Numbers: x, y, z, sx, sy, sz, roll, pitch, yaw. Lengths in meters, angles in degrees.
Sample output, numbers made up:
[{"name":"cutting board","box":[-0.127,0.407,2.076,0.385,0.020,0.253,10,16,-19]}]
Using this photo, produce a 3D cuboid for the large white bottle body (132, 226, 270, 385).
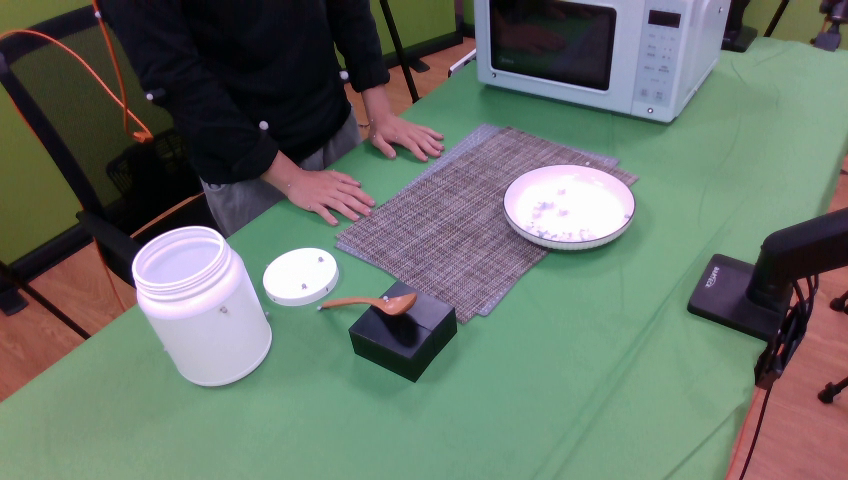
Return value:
[{"name":"large white bottle body","box":[-0.286,0.085,0.784,0.130,0.185,0.130,-4,41,4]}]

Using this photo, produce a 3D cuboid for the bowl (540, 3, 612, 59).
[{"name":"bowl","box":[0.323,-0.441,1.298,0.151,0.077,0.150,-4,42,4]}]

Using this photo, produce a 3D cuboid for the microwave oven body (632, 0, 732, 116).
[{"name":"microwave oven body","box":[0.377,-0.462,1.267,0.438,0.261,0.327,21,48,30]}]

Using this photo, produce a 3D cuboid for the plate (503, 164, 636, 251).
[{"name":"plate","box":[0.232,-0.051,0.976,0.209,0.038,0.208,-3,41,3]}]

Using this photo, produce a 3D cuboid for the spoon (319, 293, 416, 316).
[{"name":"spoon","box":[-0.082,0.086,0.826,0.192,0.022,0.041,-3,36,41]}]

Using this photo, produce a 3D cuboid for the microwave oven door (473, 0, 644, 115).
[{"name":"microwave oven door","box":[0.257,-0.396,1.199,0.353,0.245,0.039,21,48,29]}]

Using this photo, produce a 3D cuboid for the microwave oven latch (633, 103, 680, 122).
[{"name":"microwave oven latch","box":[0.444,-0.249,1.157,0.078,0.029,0.030,21,48,30]}]

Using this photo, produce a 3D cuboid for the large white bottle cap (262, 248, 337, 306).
[{"name":"large white bottle cap","box":[-0.192,0.056,0.934,0.115,0.018,0.114,-4,41,4]}]
